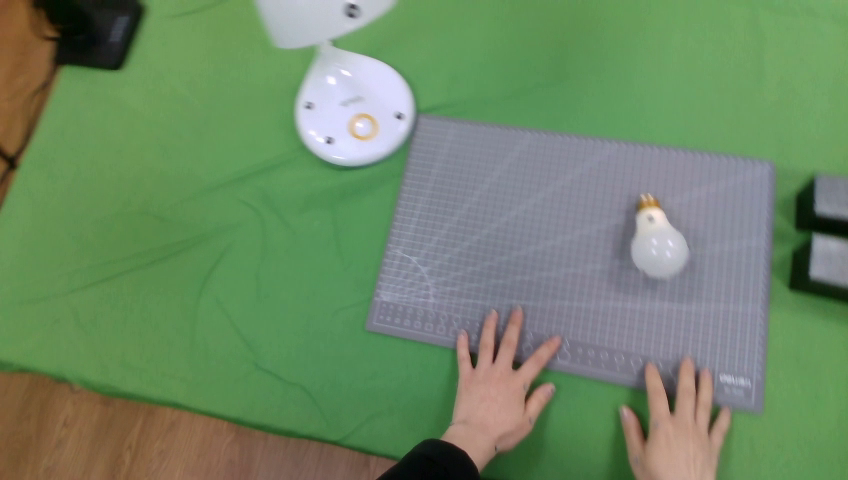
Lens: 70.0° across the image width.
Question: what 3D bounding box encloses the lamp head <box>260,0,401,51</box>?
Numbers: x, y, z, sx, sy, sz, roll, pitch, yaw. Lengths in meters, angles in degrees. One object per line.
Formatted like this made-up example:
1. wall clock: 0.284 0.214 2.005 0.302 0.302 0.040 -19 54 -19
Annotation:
1. lamp head: -0.089 -0.227 0.472 0.112 0.124 0.111 -17 30 10

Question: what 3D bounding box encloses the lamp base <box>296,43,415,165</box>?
1. lamp base: -0.108 -0.208 0.745 0.160 0.181 0.177 -31 68 -5

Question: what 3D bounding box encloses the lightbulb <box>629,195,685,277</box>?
1. lightbulb: 0.265 -0.008 0.701 0.059 0.060 0.106 -4 56 6
